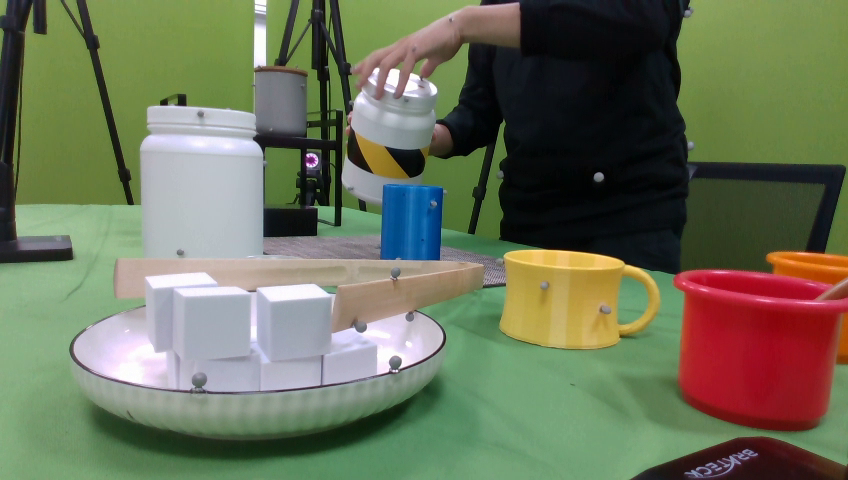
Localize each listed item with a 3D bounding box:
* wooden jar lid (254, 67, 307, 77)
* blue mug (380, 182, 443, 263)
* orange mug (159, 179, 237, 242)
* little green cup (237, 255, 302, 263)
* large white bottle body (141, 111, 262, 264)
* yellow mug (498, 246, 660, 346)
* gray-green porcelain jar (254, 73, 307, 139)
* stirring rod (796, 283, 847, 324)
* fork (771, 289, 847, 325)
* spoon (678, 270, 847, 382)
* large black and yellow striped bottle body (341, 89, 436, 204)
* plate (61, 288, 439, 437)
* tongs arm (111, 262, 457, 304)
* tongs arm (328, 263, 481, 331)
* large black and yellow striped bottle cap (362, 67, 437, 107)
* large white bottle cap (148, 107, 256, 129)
[{"bbox_3d":[-0.296,-0.339,1.251,0.108,0.020,0.108,2,7,0],"label":"wooden jar lid"},{"bbox_3d":[-0.020,-0.026,0.833,0.082,0.106,0.116,1,7,-7],"label":"blue mug"},{"bbox_3d":[-0.368,-0.052,0.991,0.127,0.101,0.083,-10,14,-41],"label":"orange mug"},{"bbox_3d":[-0.150,0.038,0.590,0.061,0.038,0.061,3,6,0],"label":"little green cup"},{"bbox_3d":[-0.254,-0.053,0.697,0.131,0.184,0.130,2,7,0],"label":"large white bottle body"},{"bbox_3d":[0.130,0.045,0.508,0.131,0.064,0.100,4,7,6],"label":"yellow mug"},{"bbox_3d":[-0.298,-0.277,1.259,0.106,0.126,0.106,3,7,0],"label":"gray-green porcelain jar"},{"bbox_3d":[0.346,0.019,0.460,0.014,0.176,0.006,-17,59,-26],"label":"stirring rod"},{"bbox_3d":[0.335,0.018,0.443,0.028,0.018,0.207,-1,-36,-20],"label":"fork"},{"bbox_3d":[0.229,0.031,0.338,0.193,0.021,0.042,-44,-16,27],"label":"spoon"},{"bbox_3d":[-0.055,-0.164,0.962,0.131,0.184,0.130,11,31,-6],"label":"large black and yellow striped bottle body"},{"bbox_3d":[-0.095,0.069,0.362,0.208,0.039,0.207,3,7,0],"label":"plate"},{"bbox_3d":[-0.080,0.032,0.527,0.028,0.027,0.389,-3,-4,33],"label":"tongs arm"},{"bbox_3d":[-0.003,0.036,0.493,0.050,0.026,0.386,1,-1,19],"label":"tongs arm"},{"bbox_3d":[-0.037,-0.233,0.918,0.115,0.019,0.115,10,33,-6],"label":"large black and yellow striped bottle cap"},{"bbox_3d":[-0.250,-0.137,0.686,0.115,0.018,0.115,2,8,0],"label":"large white bottle cap"}]
